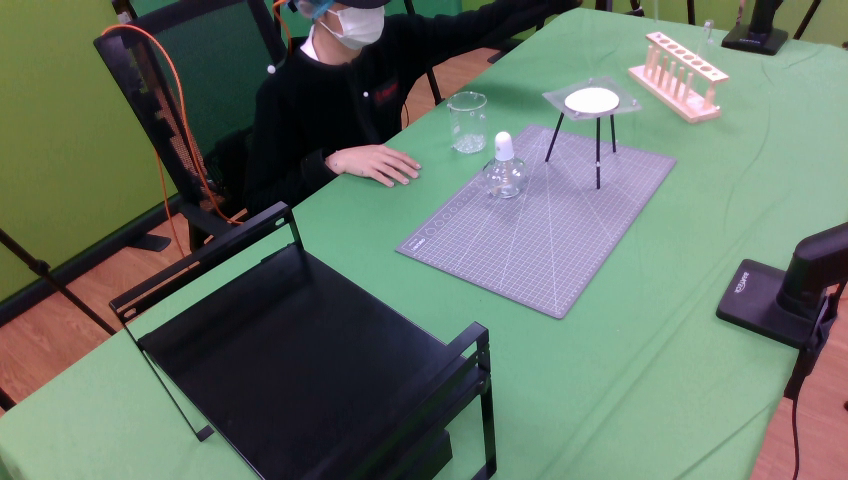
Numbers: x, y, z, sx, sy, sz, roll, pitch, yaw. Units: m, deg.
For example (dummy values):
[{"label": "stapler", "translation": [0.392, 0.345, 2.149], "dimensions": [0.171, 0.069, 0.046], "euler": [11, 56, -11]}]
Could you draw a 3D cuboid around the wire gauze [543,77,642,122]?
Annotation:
[{"label": "wire gauze", "translation": [0.282, -0.236, 1.020], "dimensions": [0.125, 0.011, 0.120], "euler": [-15, 40, -6]}]

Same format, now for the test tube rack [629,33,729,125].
[{"label": "test tube rack", "translation": [0.516, -0.337, 1.247], "dimensions": [0.067, 0.085, 0.240], "euler": [-14, 41, -7]}]

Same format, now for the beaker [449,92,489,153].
[{"label": "beaker", "translation": [0.092, -0.228, 1.177], "dimensions": [0.073, 0.101, 0.084], "euler": [15, 45, 24]}]

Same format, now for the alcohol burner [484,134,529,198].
[{"label": "alcohol burner", "translation": [0.141, -0.133, 1.041], "dimensions": [0.078, 0.119, 0.077], "euler": [-5, 43, 5]}]

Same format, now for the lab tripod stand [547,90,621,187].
[{"label": "lab tripod stand", "translation": [0.289, -0.184, 1.062], "dimensions": [0.148, 0.132, 0.147], "euler": [-6, 41, 6]}]

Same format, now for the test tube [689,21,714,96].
[{"label": "test tube", "translation": [0.542, -0.353, 1.184], "dimensions": [0.017, 0.151, 0.017], "euler": [-2, 40, 2]}]

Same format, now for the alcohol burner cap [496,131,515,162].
[{"label": "alcohol burner cap", "translation": [0.135, -0.160, 1.019], "dimensions": [0.034, 0.048, 0.033], "euler": [-8, 37, 6]}]

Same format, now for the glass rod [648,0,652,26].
[{"label": "glass rod", "translation": [0.419, -0.497, 1.128], "dimensions": [0.008, 0.201, 0.008], "euler": [-11, 38, 10]}]
